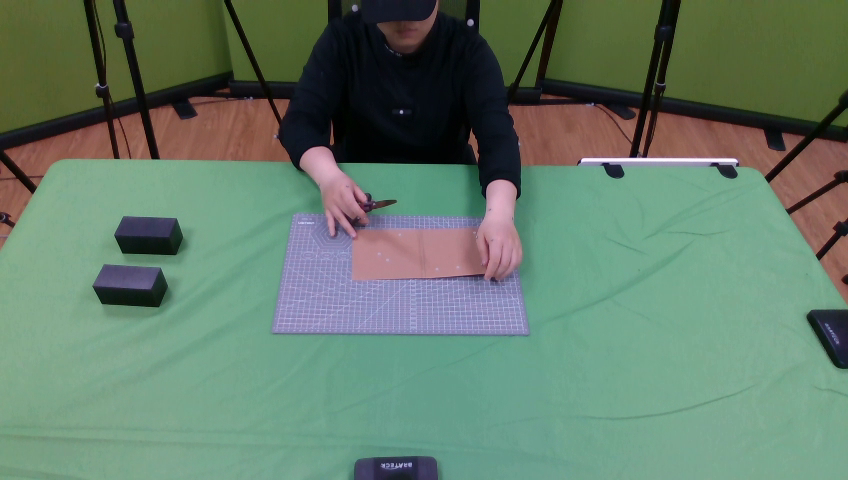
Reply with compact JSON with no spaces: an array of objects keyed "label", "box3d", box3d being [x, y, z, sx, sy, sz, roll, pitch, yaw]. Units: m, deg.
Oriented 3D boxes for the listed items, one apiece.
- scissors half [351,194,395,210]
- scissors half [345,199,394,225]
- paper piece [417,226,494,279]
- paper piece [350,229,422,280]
[{"label":"scissors half","box3d":[-0.099,-0.074,1.176,0.013,0.174,0.040,35,73,-26]},{"label":"scissors half","box3d":[-0.107,-0.058,1.169,0.013,0.175,0.040,40,57,-23]},{"label":"paper piece","box3d":[0.058,0.021,1.184,0.138,0.009,0.135,-3,46,-2]},{"label":"paper piece","box3d":[-0.075,0.025,1.173,0.135,0.004,0.135,-1,45,-4]}]
